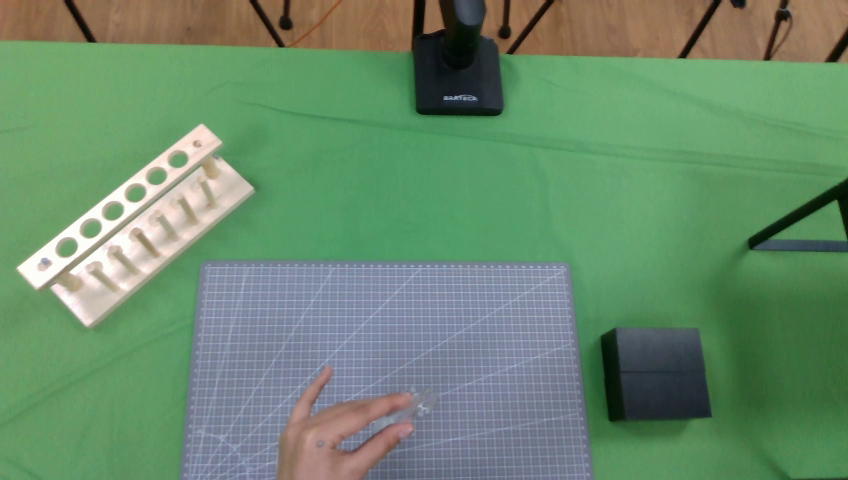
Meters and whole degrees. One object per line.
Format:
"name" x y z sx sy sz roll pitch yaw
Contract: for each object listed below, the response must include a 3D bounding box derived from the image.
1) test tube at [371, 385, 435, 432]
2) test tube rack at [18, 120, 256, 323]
"test tube" -0.021 0.148 0.522 0.017 0.150 0.017 8 63 -17
"test tube rack" -0.312 -0.021 0.686 0.066 0.085 0.242 43 72 10
